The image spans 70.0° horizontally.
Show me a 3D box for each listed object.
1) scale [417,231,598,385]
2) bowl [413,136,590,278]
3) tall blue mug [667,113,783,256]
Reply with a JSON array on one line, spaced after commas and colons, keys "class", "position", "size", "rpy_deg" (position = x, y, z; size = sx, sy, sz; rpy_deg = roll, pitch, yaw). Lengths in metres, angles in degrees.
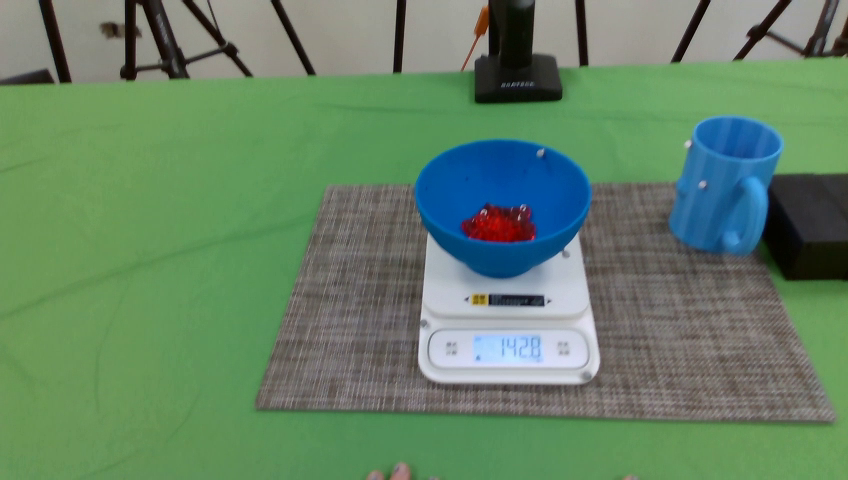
[{"class": "scale", "position": [0.072, 0.041, 0.552], "size": [0.148, 0.032, 0.199], "rpy_deg": [-1, 43, 5]}, {"class": "bowl", "position": [0.067, -0.019, 0.539], "size": [0.151, 0.077, 0.150], "rpy_deg": [-2, 43, 2]}, {"class": "tall blue mug", "position": [0.289, -0.045, 0.567], "size": [0.078, 0.109, 0.106], "rpy_deg": [-22, 45, -18]}]
